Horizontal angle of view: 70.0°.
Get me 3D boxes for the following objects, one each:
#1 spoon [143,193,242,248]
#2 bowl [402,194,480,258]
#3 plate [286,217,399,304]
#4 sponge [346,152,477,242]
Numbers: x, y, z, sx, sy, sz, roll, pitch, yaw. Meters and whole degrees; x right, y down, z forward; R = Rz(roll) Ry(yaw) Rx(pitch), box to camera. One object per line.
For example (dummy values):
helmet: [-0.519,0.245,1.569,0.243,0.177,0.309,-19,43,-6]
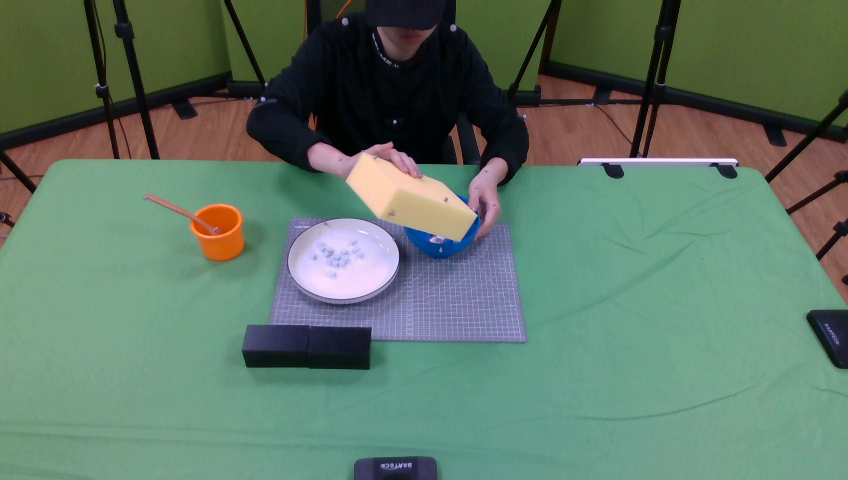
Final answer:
spoon: [-0.421,-0.037,1.113,0.021,0.195,0.041,-36,37,23]
bowl: [0.028,-0.018,1.176,0.151,0.077,0.150,4,45,-4]
plate: [-0.150,0.041,1.131,0.209,0.038,0.208,2,45,-2]
sponge: [-0.018,-0.071,1.039,0.208,0.061,0.117,15,24,-47]
